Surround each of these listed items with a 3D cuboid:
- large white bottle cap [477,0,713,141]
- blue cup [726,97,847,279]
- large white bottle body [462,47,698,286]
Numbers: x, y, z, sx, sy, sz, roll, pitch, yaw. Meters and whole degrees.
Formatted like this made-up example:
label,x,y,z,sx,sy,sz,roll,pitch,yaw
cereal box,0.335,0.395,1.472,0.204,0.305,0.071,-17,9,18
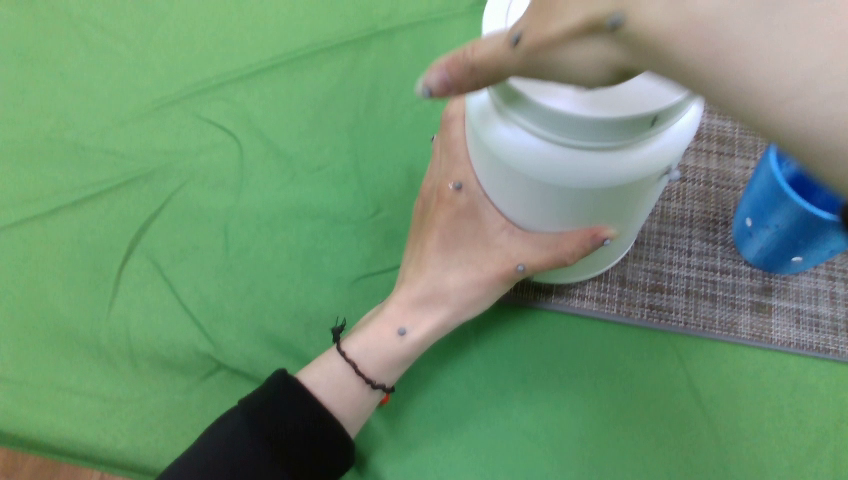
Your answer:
label,x,y,z,sx,sy,sz,roll,pitch,yaw
large white bottle cap,0.083,-0.100,0.304,0.115,0.018,0.114,-1,63,3
blue cup,0.248,-0.021,0.399,0.092,0.101,0.092,-2,62,4
large white bottle body,0.089,-0.062,0.381,0.130,0.186,0.129,-1,63,3
